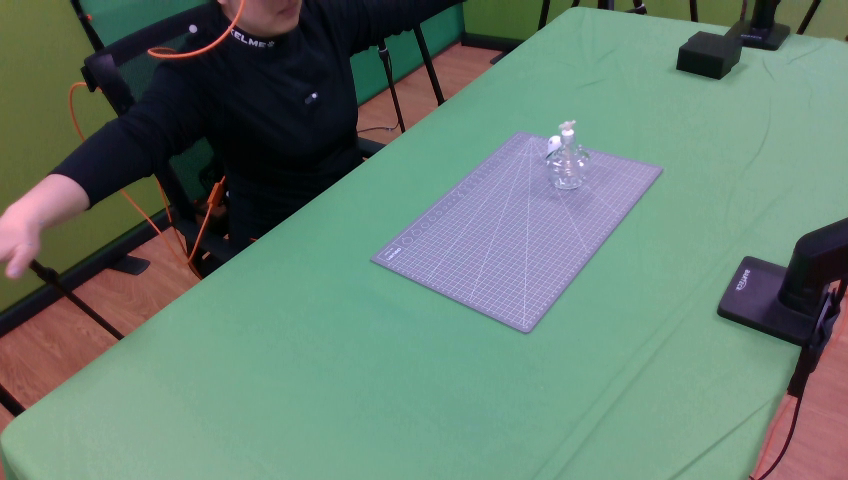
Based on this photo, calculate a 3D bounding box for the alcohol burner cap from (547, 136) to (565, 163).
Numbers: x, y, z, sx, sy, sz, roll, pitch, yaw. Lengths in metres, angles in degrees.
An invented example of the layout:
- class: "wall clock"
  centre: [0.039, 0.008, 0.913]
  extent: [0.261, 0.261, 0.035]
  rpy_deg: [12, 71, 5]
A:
- class: "alcohol burner cap"
  centre: [0.245, -0.170, 1.118]
  extent: [0.034, 0.048, 0.033]
  rpy_deg: [-6, 40, 5]

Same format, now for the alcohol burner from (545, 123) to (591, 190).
- class: "alcohol burner"
  centre: [0.247, -0.147, 1.034]
  extent: [0.078, 0.120, 0.077]
  rpy_deg: [-7, 41, 6]
